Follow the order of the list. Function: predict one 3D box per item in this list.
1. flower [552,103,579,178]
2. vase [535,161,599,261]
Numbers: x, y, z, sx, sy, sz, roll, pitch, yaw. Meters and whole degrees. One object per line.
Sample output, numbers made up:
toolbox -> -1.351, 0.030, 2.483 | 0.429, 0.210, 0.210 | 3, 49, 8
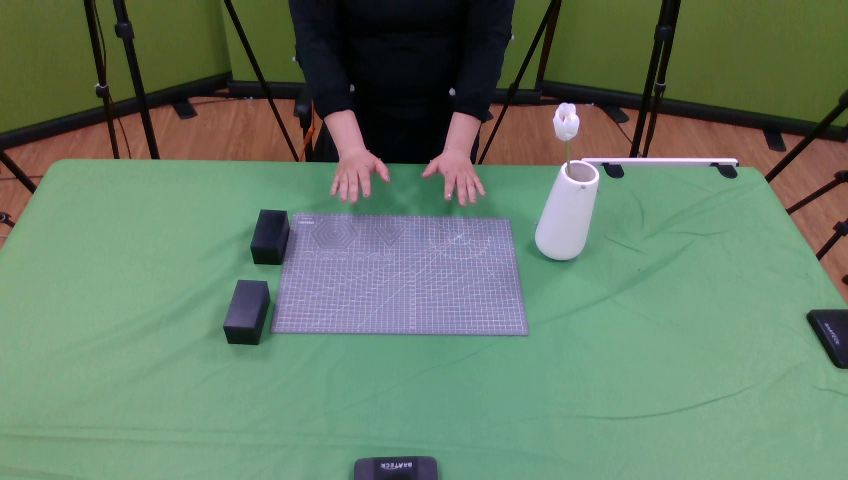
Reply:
flower -> 0.259, -0.102, 1.079 | 0.038, 0.364, 0.043 | -25, 54, -1
vase -> 0.270, -0.051, 1.145 | 0.098, 0.201, 0.097 | 1, 46, -1
